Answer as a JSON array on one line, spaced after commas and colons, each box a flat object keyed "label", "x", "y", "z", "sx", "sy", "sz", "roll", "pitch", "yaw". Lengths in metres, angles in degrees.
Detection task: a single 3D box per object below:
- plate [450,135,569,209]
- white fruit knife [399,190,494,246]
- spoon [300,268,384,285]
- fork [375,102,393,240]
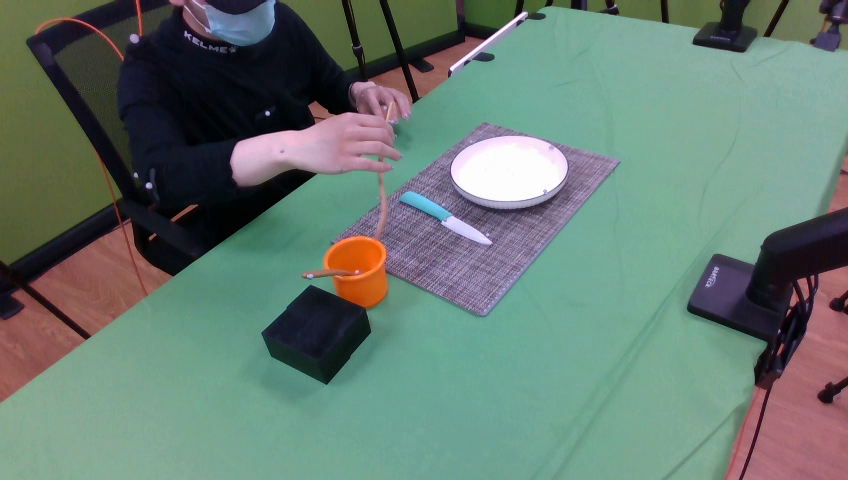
[{"label": "plate", "x": 0.149, "y": -0.117, "z": 1.066, "sx": 0.209, "sy": 0.038, "sz": 0.208, "roll": -4, "pitch": 41, "yaw": 4}, {"label": "white fruit knife", "x": 0.036, "y": -0.038, "z": 1.009, "sx": 0.205, "sy": 0.016, "sz": 0.027, "roll": 31, "pitch": 84, "yaw": 34}, {"label": "spoon", "x": -0.112, "y": 0.048, "z": 0.831, "sx": 0.041, "sy": 0.195, "sz": 0.021, "roll": 17, "pitch": 90, "yaw": 24}, {"label": "fork", "x": -0.058, "y": -0.103, "z": 0.884, "sx": 0.018, "sy": 0.028, "sz": 0.207, "roll": 2, "pitch": 83, "yaw": 2}]
